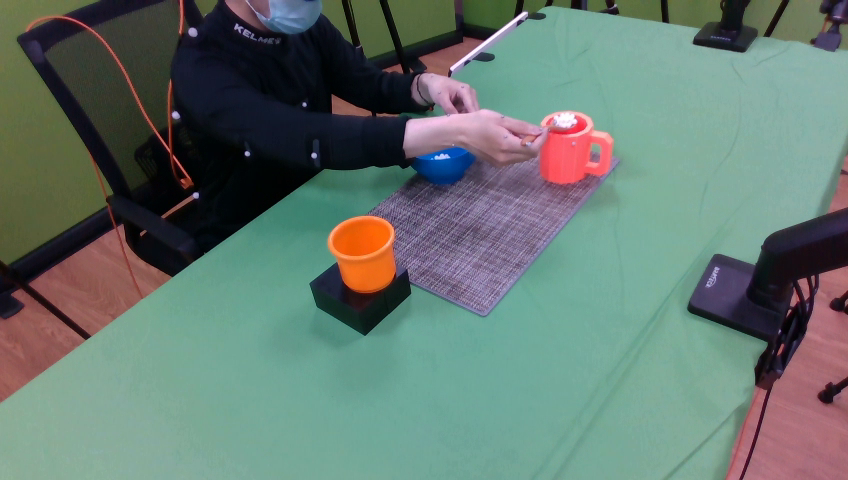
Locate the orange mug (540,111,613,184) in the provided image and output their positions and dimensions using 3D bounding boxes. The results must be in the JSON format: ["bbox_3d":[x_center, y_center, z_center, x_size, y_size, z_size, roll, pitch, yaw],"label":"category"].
[{"bbox_3d":[0.263,-0.159,1.052,0.125,0.101,0.083,12,44,28],"label":"orange mug"}]

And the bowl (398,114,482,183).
[{"bbox_3d":[0.032,-0.156,1.097,0.151,0.077,0.150,-4,41,4],"label":"bowl"}]

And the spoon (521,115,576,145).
[{"bbox_3d":[0.197,-0.177,0.967,0.041,0.021,0.195,28,30,23],"label":"spoon"}]
